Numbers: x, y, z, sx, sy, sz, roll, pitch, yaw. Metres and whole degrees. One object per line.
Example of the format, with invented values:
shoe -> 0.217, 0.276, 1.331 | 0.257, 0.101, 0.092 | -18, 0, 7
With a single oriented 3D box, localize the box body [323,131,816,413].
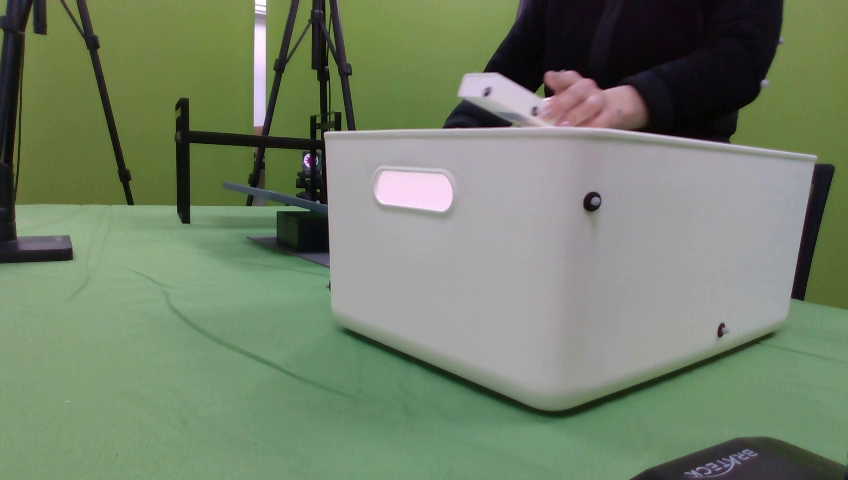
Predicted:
box body -> 0.125, -0.001, 0.510 | 0.366, 0.160, 0.253 | -4, 10, -40

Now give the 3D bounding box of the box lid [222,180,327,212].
box lid -> -0.119, -0.039, 0.993 | 0.374, 0.015, 0.262 | 13, 1, -36

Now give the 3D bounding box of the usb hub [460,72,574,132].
usb hub -> 0.098, -0.140, 0.622 | 0.126, 0.025, 0.049 | 12, 7, -41
